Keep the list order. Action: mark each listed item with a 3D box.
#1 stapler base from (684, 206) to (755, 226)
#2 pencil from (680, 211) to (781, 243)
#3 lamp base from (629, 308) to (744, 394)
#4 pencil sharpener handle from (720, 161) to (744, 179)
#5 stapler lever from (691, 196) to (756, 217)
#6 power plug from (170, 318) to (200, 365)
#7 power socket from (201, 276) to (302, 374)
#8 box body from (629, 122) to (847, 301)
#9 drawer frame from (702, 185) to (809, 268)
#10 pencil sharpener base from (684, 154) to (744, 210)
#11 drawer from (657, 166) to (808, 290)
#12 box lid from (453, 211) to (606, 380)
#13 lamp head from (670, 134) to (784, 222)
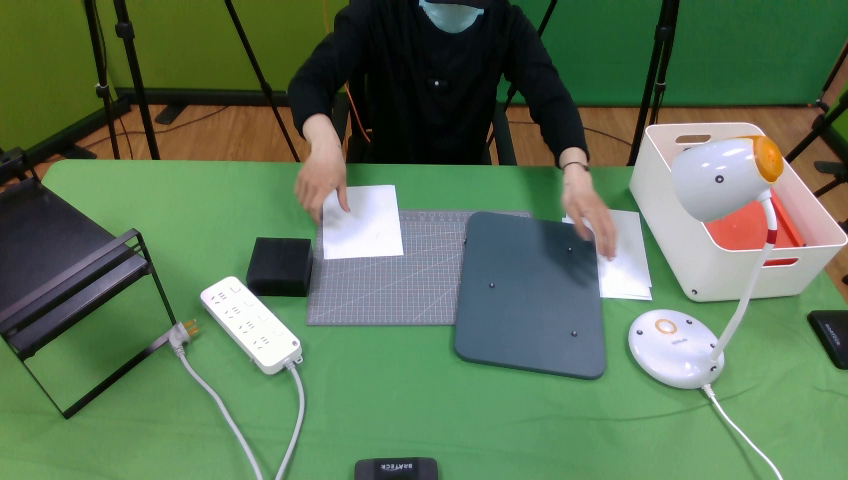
[{"bbox_3d":[0.588,-0.052,1.204,0.130,0.024,0.041,2,60,11],"label":"stapler base"},{"bbox_3d":[0.598,-0.028,1.185,0.194,0.012,0.012,18,48,10],"label":"pencil"},{"bbox_3d":[0.446,0.139,0.987,0.161,0.181,0.178,-18,53,-20],"label":"lamp base"},{"bbox_3d":[0.667,-0.147,1.299,0.031,0.068,0.036,-8,80,-12],"label":"pencil sharpener handle"},{"bbox_3d":[0.586,-0.066,1.184,0.118,0.040,0.026,2,59,12],"label":"stapler lever"},{"bbox_3d":[-0.392,0.167,1.013,0.052,0.035,0.072,-31,89,-23],"label":"power plug"},{"bbox_3d":[-0.297,0.141,1.034,0.072,0.033,0.225,-34,58,-30],"label":"power socket"},{"bbox_3d":[0.593,-0.062,1.202,0.254,0.161,0.361,-3,47,-7],"label":"box body"},{"bbox_3d":[0.584,-0.023,1.160,0.202,0.083,0.212,-12,56,3],"label":"drawer frame"},{"bbox_3d":[0.619,-0.124,1.293,0.077,0.107,0.061,-8,47,-12],"label":"pencil sharpener base"},{"bbox_3d":[0.582,-0.025,1.163,0.194,0.073,0.210,-12,56,3],"label":"drawer"},{"bbox_3d":[0.200,0.085,1.138,0.263,0.015,0.369,8,47,3],"label":"box lid"},{"bbox_3d":[0.422,-0.089,0.829,0.113,0.123,0.112,8,74,-32],"label":"lamp head"}]
